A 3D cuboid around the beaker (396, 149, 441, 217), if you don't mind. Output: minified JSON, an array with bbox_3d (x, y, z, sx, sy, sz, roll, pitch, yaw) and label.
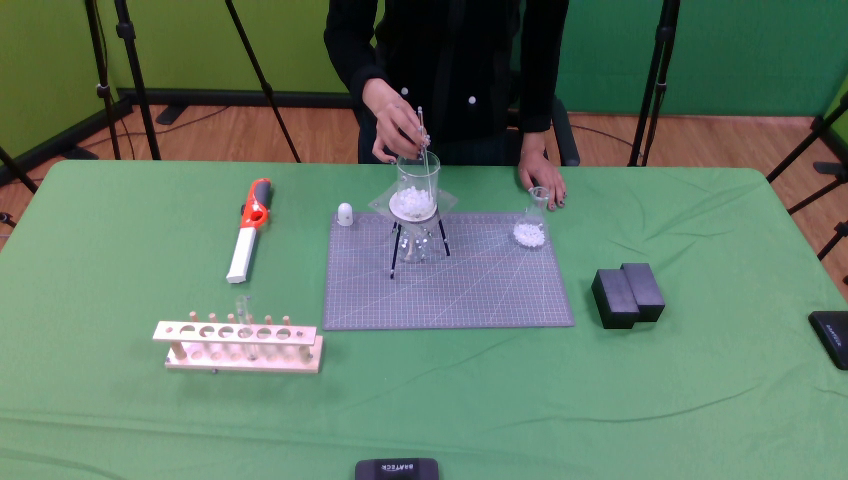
[{"bbox_3d":[-0.015,-0.098,1.053,0.074,0.101,0.083,-31,55,-30],"label":"beaker"}]

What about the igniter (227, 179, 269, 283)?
[{"bbox_3d":[-0.345,-0.027,1.195,0.057,0.025,0.274,-6,46,5],"label":"igniter"}]

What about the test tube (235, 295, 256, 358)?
[{"bbox_3d":[-0.274,0.136,0.933,0.017,0.151,0.017,4,46,-4],"label":"test tube"}]

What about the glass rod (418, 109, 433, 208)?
[{"bbox_3d":[0.003,-0.128,0.999,0.008,0.201,0.008,-4,44,4],"label":"glass rod"}]

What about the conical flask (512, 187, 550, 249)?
[{"bbox_3d":[0.217,-0.047,1.190,0.075,0.122,0.075,2,46,-2],"label":"conical flask"}]

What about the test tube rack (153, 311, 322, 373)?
[{"bbox_3d":[-0.293,0.160,0.978,0.242,0.085,0.066,3,46,-2],"label":"test tube rack"}]

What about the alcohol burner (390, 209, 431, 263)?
[{"bbox_3d":[-0.024,-0.014,1.144,0.078,0.119,0.077,4,45,-3],"label":"alcohol burner"}]

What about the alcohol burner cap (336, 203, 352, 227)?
[{"bbox_3d":[-0.162,-0.053,1.221,0.034,0.048,0.033,2,46,-2],"label":"alcohol burner cap"}]

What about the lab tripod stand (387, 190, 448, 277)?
[{"bbox_3d":[-0.021,-0.018,1.135,0.148,0.132,0.147,3,44,-3],"label":"lab tripod stand"}]

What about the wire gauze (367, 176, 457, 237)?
[{"bbox_3d":[-0.020,-0.066,1.089,0.124,0.011,0.121,27,47,22],"label":"wire gauze"}]
